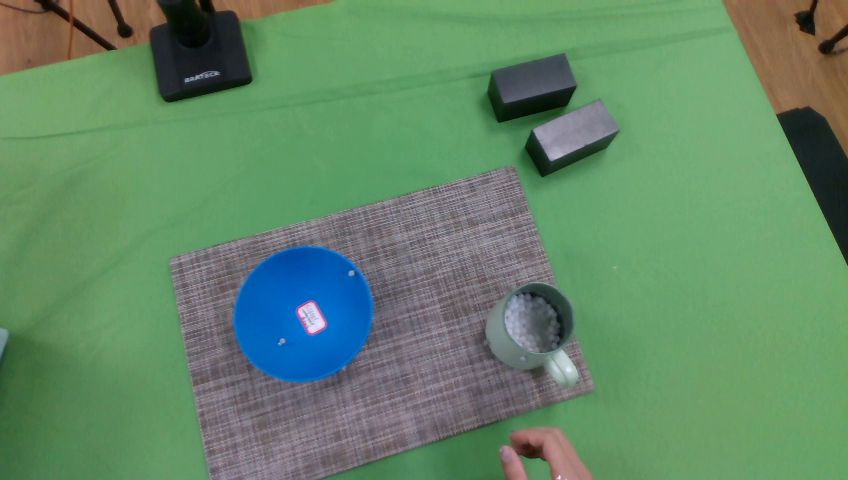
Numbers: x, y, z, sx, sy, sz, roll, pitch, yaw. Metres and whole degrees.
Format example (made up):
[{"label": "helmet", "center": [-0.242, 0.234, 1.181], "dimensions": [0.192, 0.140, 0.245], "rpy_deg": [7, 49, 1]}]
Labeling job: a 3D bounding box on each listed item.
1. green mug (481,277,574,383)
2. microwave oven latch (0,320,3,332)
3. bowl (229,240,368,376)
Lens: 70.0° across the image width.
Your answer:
[{"label": "green mug", "center": [0.124, 0.104, 0.681], "dimensions": [0.092, 0.105, 0.124], "rpy_deg": [-33, 78, -11]}, {"label": "microwave oven latch", "center": [-0.499, 0.122, 0.672], "dimensions": [0.030, 0.029, 0.079], "rpy_deg": [14, 75, 1]}, {"label": "bowl", "center": [-0.136, 0.082, 0.692], "dimensions": [0.151, 0.077, 0.150], "rpy_deg": [1, 74, -2]}]
